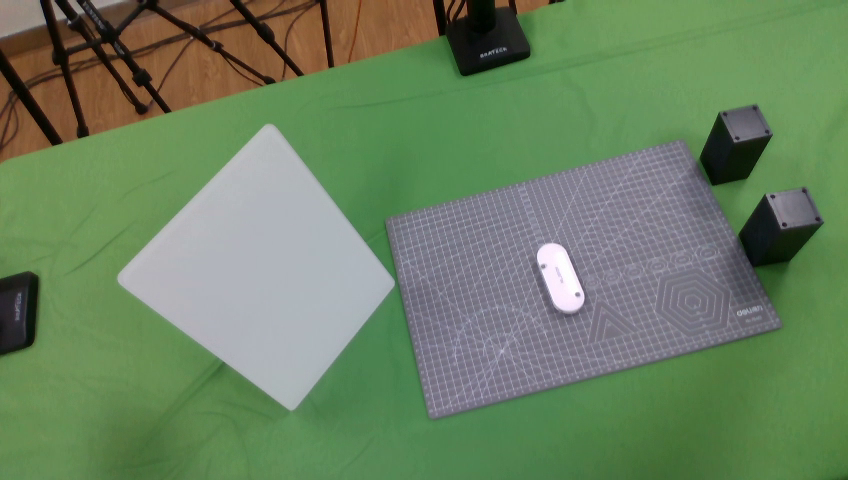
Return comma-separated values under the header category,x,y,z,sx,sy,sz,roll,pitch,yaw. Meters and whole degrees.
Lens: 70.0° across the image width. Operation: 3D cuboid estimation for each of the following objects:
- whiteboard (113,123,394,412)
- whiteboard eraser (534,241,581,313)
category,x,y,z,sx,sy,sz,roll,pitch,yaw
whiteboard,-0.212,0.028,0.743,0.142,0.309,0.217,24,68,40
whiteboard eraser,0.175,0.047,0.801,0.041,0.019,0.100,-16,62,0
